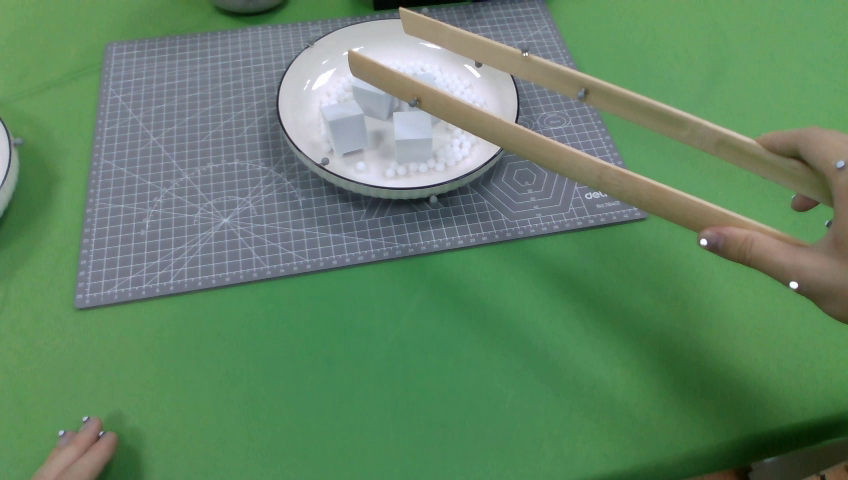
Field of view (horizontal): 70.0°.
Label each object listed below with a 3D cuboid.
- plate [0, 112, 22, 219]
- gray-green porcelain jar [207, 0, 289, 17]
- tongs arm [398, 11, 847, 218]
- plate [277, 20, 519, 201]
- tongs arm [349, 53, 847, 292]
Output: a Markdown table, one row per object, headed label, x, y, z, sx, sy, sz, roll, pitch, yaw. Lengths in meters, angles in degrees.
| label | x | y | z | sx | sy | sz | roll | pitch | yaw |
| --- | --- | --- | --- | --- | --- | --- | --- | --- | --- |
| plate | -0.421 | -0.034 | 0.472 | 0.208 | 0.039 | 0.205 | 1 | 57 | -1 |
| gray-green porcelain jar | -0.183 | -0.299 | 0.601 | 0.106 | 0.127 | 0.105 | 1 | 56 | -1 |
| tongs arm | 0.126 | -0.081 | 0.415 | 0.382 | 0.027 | 0.050 | 27 | 61 | 22 |
| plate | -0.022 | -0.114 | 0.534 | 0.209 | 0.038 | 0.207 | 1 | 57 | -1 |
| tongs arm | 0.103 | -0.055 | 0.399 | 0.385 | 0.028 | 0.028 | 27 | 57 | 22 |
